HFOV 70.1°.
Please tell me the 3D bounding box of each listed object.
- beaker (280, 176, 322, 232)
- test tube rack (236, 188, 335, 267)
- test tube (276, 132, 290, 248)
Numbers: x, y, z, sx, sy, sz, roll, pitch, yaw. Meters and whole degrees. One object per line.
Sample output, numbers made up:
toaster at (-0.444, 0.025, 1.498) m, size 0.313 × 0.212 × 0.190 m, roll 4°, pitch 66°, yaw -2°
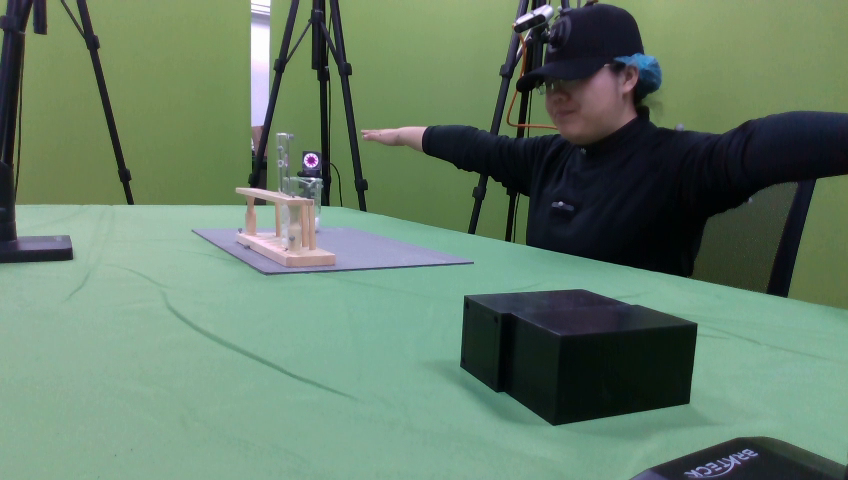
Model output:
beaker at (-0.224, -0.065, 1.111) m, size 0.074 × 0.100 × 0.083 m, roll -2°, pitch 10°, yaw -30°
test tube rack at (-0.202, -0.025, 0.855) m, size 0.067 × 0.085 × 0.241 m, roll -2°, pitch 9°, yaw -31°
test tube at (-0.180, -0.063, 0.778) m, size 0.017 × 0.150 × 0.017 m, roll 0°, pitch 9°, yaw 0°
